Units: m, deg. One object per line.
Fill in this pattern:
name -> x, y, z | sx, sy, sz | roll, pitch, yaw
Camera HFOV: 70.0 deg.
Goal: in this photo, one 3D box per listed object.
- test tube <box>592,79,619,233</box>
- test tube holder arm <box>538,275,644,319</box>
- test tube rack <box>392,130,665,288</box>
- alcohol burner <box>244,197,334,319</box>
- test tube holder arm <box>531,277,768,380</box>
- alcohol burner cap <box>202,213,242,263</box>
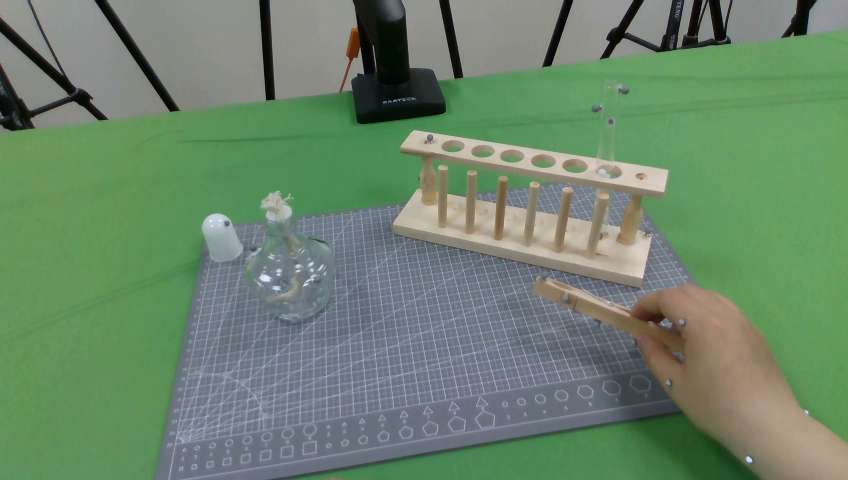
test tube -> 0.157, -0.068, 0.528 | 0.017, 0.151, 0.017 | -5, 38, 5
test tube holder arm -> 0.131, 0.049, 0.484 | 0.087, 0.015, 0.010 | 22, 25, 18
test tube rack -> 0.089, -0.033, 0.570 | 0.241, 0.086, 0.066 | 13, 43, 19
alcohol burner -> -0.117, 0.011, 0.513 | 0.078, 0.120, 0.077 | -1, 42, 1
test tube holder arm -> 0.168, 0.067, 0.466 | 0.177, 0.015, 0.013 | 22, 25, 18
alcohol burner cap -> -0.199, -0.005, 0.593 | 0.034, 0.048, 0.033 | -1, 41, 1
